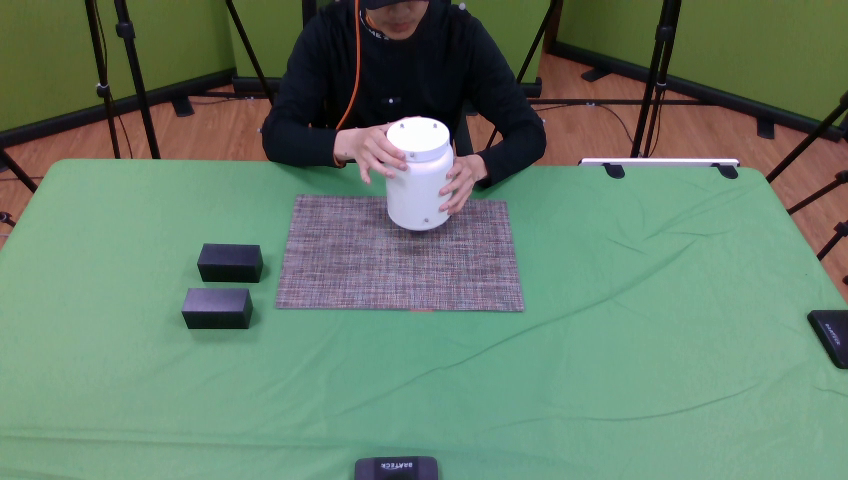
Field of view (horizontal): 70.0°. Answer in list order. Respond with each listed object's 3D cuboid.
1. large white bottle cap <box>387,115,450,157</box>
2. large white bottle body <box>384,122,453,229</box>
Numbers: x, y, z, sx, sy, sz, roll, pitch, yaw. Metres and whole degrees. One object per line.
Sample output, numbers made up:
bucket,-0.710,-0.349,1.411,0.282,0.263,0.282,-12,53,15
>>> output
large white bottle cap,-0.011,-0.190,1.097,0.115,0.018,0.114,0,43,0
large white bottle body,-0.010,-0.128,1.154,0.130,0.185,0.130,0,43,0
